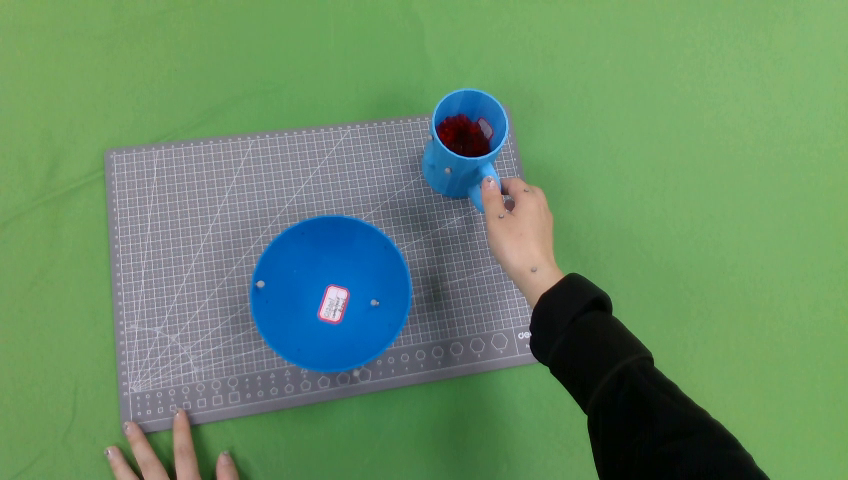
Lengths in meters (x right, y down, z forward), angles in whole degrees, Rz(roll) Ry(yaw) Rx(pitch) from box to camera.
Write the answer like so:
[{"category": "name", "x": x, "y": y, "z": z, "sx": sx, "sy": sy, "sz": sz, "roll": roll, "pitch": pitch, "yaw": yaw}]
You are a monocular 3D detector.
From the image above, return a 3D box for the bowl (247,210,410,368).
[{"category": "bowl", "x": -0.091, "y": 0.053, "z": 0.600, "sx": 0.151, "sy": 0.077, "sz": 0.150, "roll": 2, "pitch": 76, "yaw": -6}]

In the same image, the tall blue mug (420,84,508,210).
[{"category": "tall blue mug", "x": 0.051, "y": -0.093, "z": 0.636, "sx": 0.107, "sy": 0.108, "sz": 0.077, "roll": 37, "pitch": 74, "yaw": 4}]
